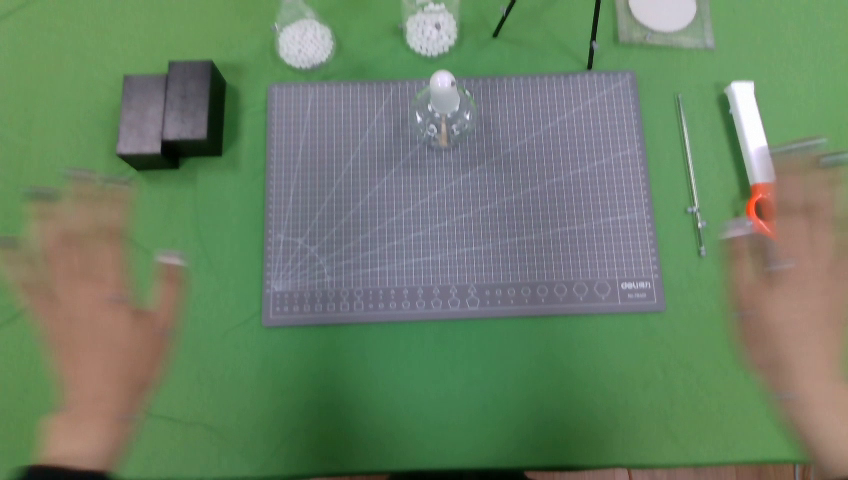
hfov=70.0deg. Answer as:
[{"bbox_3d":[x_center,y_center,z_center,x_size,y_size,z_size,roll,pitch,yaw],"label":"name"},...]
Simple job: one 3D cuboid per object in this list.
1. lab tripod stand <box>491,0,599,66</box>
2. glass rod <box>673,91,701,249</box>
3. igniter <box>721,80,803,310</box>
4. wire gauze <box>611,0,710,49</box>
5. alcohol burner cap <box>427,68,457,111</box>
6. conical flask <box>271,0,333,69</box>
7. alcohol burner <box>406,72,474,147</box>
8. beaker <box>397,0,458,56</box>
[{"bbox_3d":[0.155,-0.284,0.699,0.148,0.132,0.147,0,78,1],"label":"lab tripod stand"},{"bbox_3d":[0.311,-0.086,0.716,0.008,0.008,0.198,-2,76,-1],"label":"glass rod"},{"bbox_3d":[0.389,-0.057,0.698,0.057,0.025,0.275,-3,77,-11],"label":"igniter"},{"bbox_3d":[0.299,-0.302,0.767,0.125,0.011,0.121,3,77,-1],"label":"wire gauze"},{"bbox_3d":[0.018,-0.162,0.640,0.034,0.048,0.033,-2,71,6],"label":"alcohol burner cap"},{"bbox_3d":[-0.150,-0.259,0.699,0.075,0.122,0.075,0,76,1],"label":"conical flask"},{"bbox_3d":[0.018,-0.151,0.675,0.078,0.119,0.077,0,74,0],"label":"alcohol burner"},{"bbox_3d":[0.007,-0.273,0.715,0.084,0.100,0.073,-28,78,-7],"label":"beaker"}]
